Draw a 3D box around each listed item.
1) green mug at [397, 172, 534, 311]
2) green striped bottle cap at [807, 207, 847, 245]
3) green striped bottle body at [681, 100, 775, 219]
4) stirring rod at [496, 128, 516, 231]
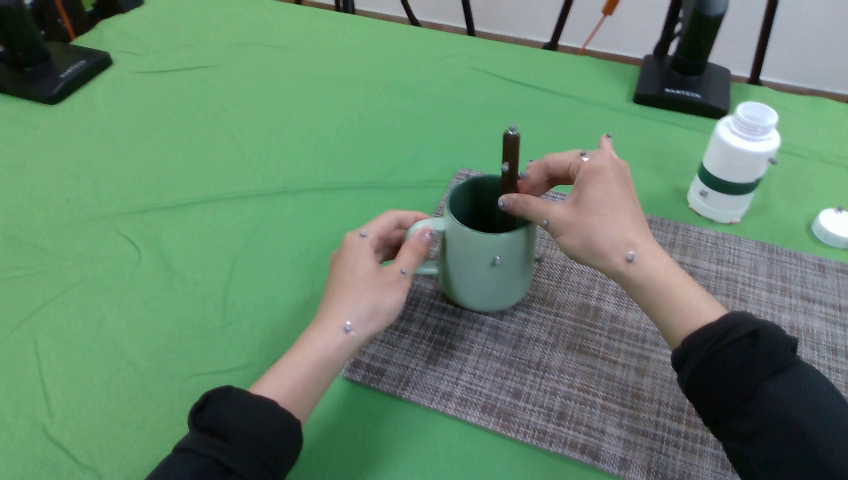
[{"bbox_3d":[0.038,0.005,0.548,0.125,0.106,0.091,-7,47,-6],"label":"green mug"},{"bbox_3d":[0.429,-0.015,0.635,0.044,0.020,0.044,1,43,-1],"label":"green striped bottle cap"},{"bbox_3d":[0.317,-0.085,0.629,0.063,0.120,0.062,0,47,0],"label":"green striped bottle body"},{"bbox_3d":[0.069,-0.026,0.519,0.014,0.178,0.006,12,53,15],"label":"stirring rod"}]
